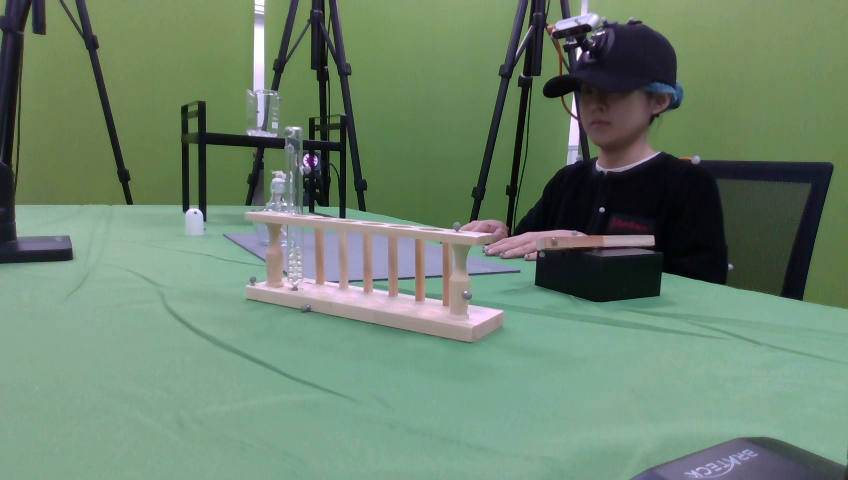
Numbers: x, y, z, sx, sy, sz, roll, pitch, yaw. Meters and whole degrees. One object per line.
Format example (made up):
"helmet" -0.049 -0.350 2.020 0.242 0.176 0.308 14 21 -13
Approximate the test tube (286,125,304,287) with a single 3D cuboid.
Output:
"test tube" -0.119 -0.030 0.558 0.017 0.150 0.017 2 12 0

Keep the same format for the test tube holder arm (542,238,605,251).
"test tube holder arm" 0.166 0.005 0.666 0.088 0.015 0.010 0 -1 -32

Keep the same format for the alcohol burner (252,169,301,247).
"alcohol burner" -0.227 -0.050 0.936 0.078 0.119 0.078 1 7 0

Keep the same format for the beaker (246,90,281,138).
"beaker" -0.354 -0.275 1.322 0.074 0.100 0.084 4 8 12

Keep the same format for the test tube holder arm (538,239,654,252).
"test tube holder arm" 0.202 0.006 0.695 0.179 0.015 0.013 0 -1 -32

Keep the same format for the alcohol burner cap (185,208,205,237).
"alcohol burner cap" -0.391 -0.031 1.032 0.034 0.048 0.034 3 8 0

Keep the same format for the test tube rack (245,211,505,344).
"test tube rack" -0.049 0.025 0.547 0.241 0.085 0.067 7 8 29
